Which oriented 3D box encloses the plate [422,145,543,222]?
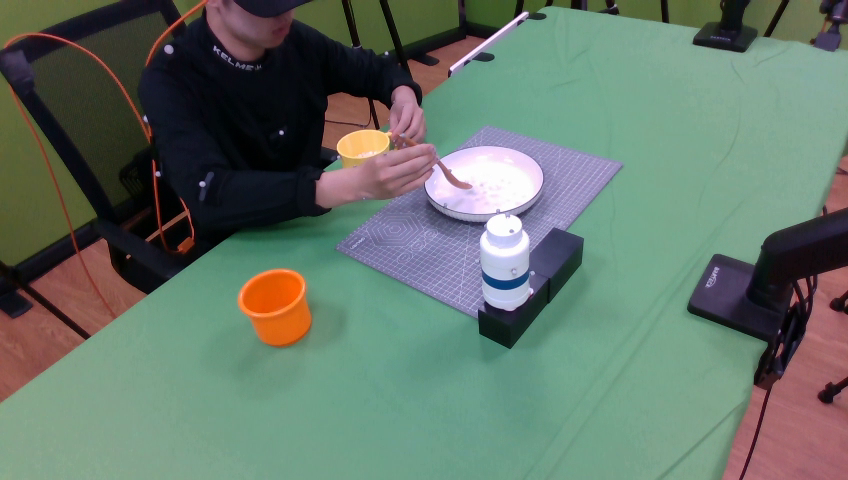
[{"bbox_3d":[0.101,-0.094,1.048,0.207,0.039,0.206,-4,41,4],"label":"plate"}]

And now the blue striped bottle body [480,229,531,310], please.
[{"bbox_3d":[0.104,0.027,0.769,0.063,0.121,0.063,-4,41,4],"label":"blue striped bottle body"}]

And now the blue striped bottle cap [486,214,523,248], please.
[{"bbox_3d":[0.098,-0.011,0.735,0.044,0.021,0.044,-3,38,3],"label":"blue striped bottle cap"}]

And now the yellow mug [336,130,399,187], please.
[{"bbox_3d":[-0.098,-0.161,1.138,0.131,0.064,0.099,-33,47,-29],"label":"yellow mug"}]

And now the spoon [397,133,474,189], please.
[{"bbox_3d":[0.019,-0.125,0.967,0.041,0.195,0.021,27,85,44],"label":"spoon"}]
